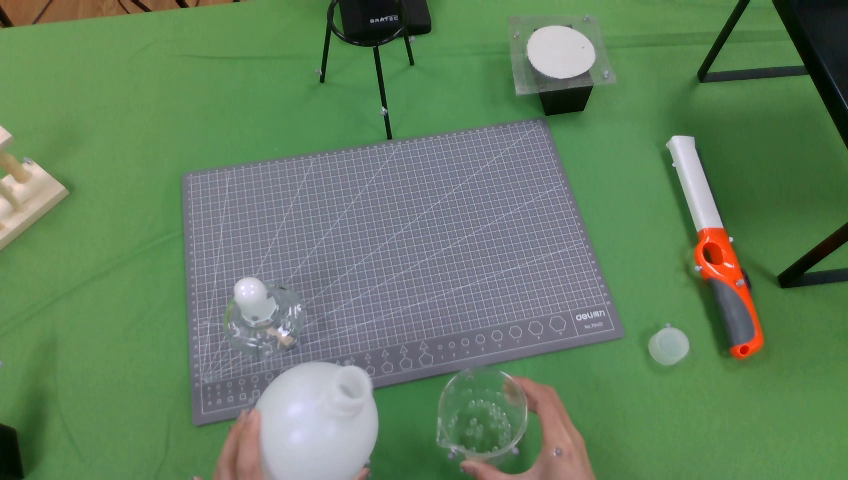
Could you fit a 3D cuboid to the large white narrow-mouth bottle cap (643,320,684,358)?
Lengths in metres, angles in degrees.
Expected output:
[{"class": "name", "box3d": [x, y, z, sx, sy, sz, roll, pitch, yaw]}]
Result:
[{"class": "large white narrow-mouth bottle cap", "box3d": [0.251, 0.104, 0.638, 0.038, 0.024, 0.037, 1, 63, -1]}]

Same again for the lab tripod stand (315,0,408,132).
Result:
[{"class": "lab tripod stand", "box3d": [-0.067, -0.225, 0.723, 0.148, 0.132, 0.147, 2, 64, -3]}]

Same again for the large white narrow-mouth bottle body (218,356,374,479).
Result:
[{"class": "large white narrow-mouth bottle body", "box3d": [-0.097, 0.153, 0.493, 0.102, 0.195, 0.101, 19, 46, -20]}]

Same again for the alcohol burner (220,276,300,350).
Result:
[{"class": "alcohol burner", "box3d": [-0.162, 0.064, 0.587, 0.078, 0.120, 0.077, 2, 62, -3]}]

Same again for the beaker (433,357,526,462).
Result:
[{"class": "beaker", "box3d": [0.045, 0.158, 0.541, 0.084, 0.101, 0.073, -32, 66, -13]}]

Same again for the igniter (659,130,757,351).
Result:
[{"class": "igniter", "box3d": [0.320, -0.008, 0.691, 0.057, 0.025, 0.274, 0, 64, -14]}]

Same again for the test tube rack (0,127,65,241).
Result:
[{"class": "test tube rack", "box3d": [-0.515, -0.012, 0.630, 0.066, 0.086, 0.242, 35, 68, 14]}]

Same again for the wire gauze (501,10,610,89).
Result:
[{"class": "wire gauze", "box3d": [0.161, -0.241, 0.754, 0.121, 0.011, 0.124, -3, 64, -3]}]

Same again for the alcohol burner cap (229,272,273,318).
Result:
[{"class": "alcohol burner cap", "box3d": [-0.161, 0.049, 0.555, 0.034, 0.048, 0.033, -1, 59, 1]}]
